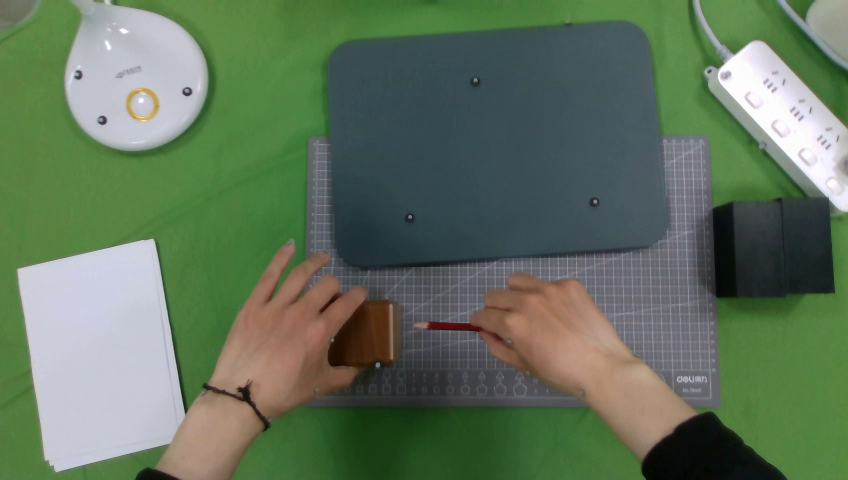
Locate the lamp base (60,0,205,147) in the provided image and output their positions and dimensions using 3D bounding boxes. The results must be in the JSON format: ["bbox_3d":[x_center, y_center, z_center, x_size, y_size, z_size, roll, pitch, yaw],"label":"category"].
[{"bbox_3d":[-0.336,-0.201,0.606,0.160,0.181,0.178,-32,82,-2],"label":"lamp base"}]

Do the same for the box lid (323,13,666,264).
[{"bbox_3d":[0.077,-0.115,0.677,0.371,0.015,0.262,-5,85,1],"label":"box lid"}]

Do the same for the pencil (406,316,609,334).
[{"bbox_3d":[0.080,0.080,0.580,0.194,0.012,0.012,3,84,0],"label":"pencil"}]

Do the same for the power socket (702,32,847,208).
[{"bbox_3d":[0.405,-0.131,0.663,0.072,0.032,0.226,-40,85,-3],"label":"power socket"}]

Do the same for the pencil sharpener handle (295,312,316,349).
[{"bbox_3d":[-0.118,0.086,0.599,0.030,0.067,0.036,-2,94,2],"label":"pencil sharpener handle"}]

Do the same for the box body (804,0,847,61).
[{"bbox_3d":[0.617,-0.223,0.603,0.254,0.160,0.363,-44,86,-3],"label":"box body"}]

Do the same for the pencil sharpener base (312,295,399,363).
[{"bbox_3d":[-0.066,0.088,0.610,0.077,0.107,0.061,-2,85,1],"label":"pencil sharpener base"}]

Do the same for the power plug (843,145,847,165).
[{"bbox_3d":[0.476,-0.098,0.636,0.072,0.053,0.035,-30,82,-7],"label":"power plug"}]
